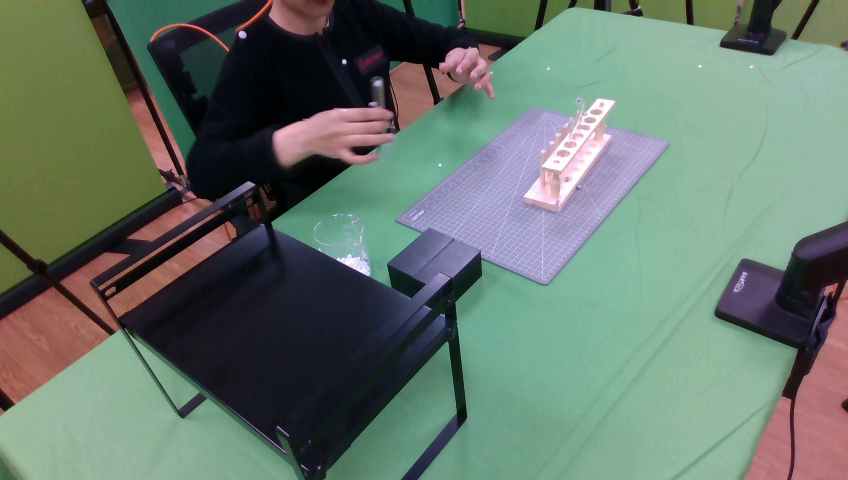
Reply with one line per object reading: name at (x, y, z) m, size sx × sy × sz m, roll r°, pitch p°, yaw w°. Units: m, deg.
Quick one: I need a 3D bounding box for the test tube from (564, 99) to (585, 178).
test tube at (0.248, -0.164, 1.001) m, size 0.017 × 0.151 × 0.017 m, roll -1°, pitch 42°, yaw 1°

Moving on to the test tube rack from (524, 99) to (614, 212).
test tube rack at (0.259, -0.158, 1.069) m, size 0.066 × 0.085 × 0.243 m, roll 19°, pitch 47°, yaw 28°

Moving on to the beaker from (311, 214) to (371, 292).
beaker at (-0.118, 0.022, 0.908) m, size 0.083 × 0.101 × 0.074 m, roll 26°, pitch 51°, yaw 32°

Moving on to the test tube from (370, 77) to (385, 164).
test tube at (-0.074, -0.188, 0.967) m, size 0.017 × 0.151 × 0.017 m, roll 0°, pitch 38°, yaw 1°
